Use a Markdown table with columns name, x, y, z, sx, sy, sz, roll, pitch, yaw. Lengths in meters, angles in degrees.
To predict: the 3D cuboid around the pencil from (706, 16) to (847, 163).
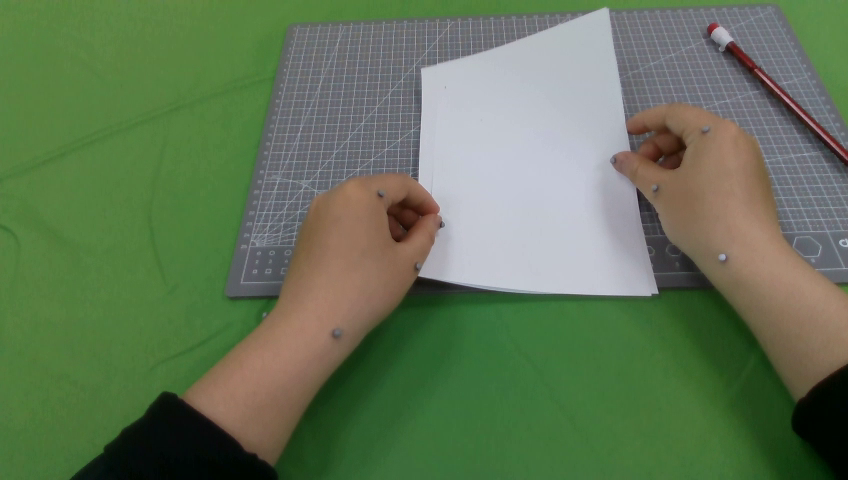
| name | x | y | z | sx | sy | sz | roll | pitch | yaw |
| --- | --- | --- | --- | --- | --- | --- | --- | --- | --- |
| pencil | 0.278 | -0.117 | 0.471 | 0.012 | 0.012 | 0.192 | -17 | 56 | -8 |
